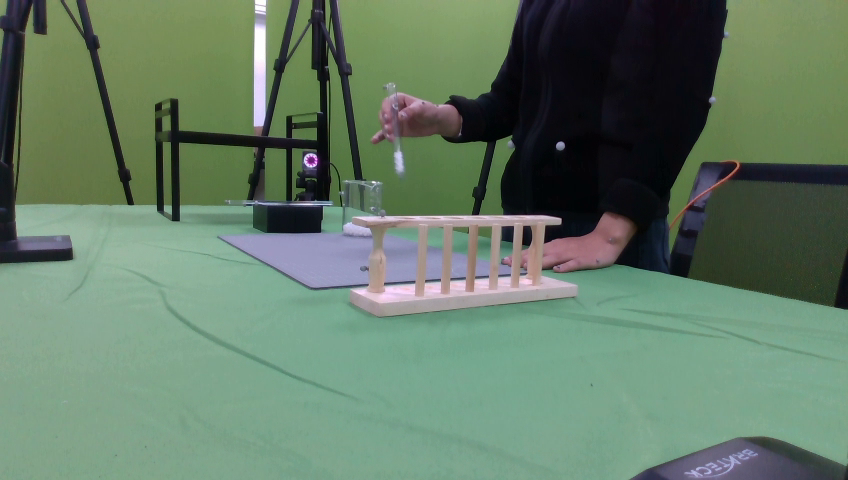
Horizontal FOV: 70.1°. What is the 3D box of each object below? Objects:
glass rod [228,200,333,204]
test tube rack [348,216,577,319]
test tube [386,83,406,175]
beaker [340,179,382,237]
[{"bbox_3d":[-0.268,-0.071,1.143,0.201,0.008,0.008,-1,8,-29],"label":"glass rod"},{"bbox_3d":[0.048,0.021,0.619,0.244,0.085,0.066,-2,9,-31],"label":"test tube rack"},{"bbox_3d":[-0.045,-0.180,0.979,0.017,0.150,0.017,-7,-4,0],"label":"test tube"},{"bbox_3d":[-0.113,-0.058,1.094,0.074,0.100,0.083,-2,10,-29],"label":"beaker"}]
